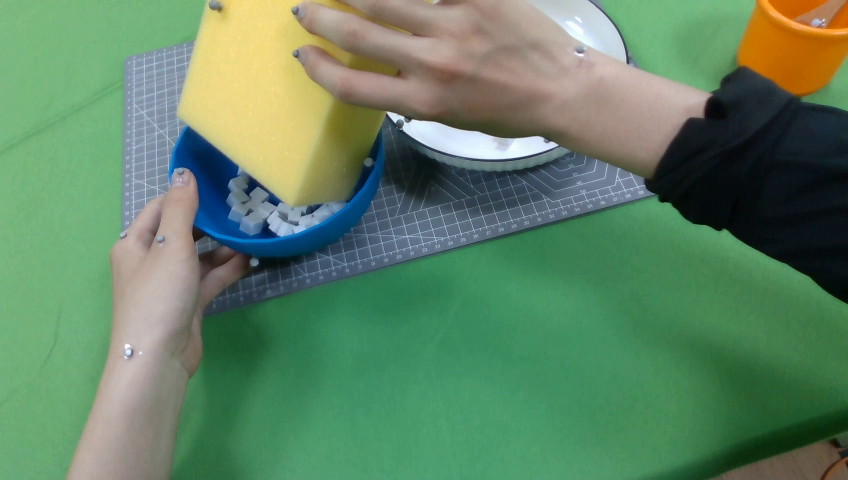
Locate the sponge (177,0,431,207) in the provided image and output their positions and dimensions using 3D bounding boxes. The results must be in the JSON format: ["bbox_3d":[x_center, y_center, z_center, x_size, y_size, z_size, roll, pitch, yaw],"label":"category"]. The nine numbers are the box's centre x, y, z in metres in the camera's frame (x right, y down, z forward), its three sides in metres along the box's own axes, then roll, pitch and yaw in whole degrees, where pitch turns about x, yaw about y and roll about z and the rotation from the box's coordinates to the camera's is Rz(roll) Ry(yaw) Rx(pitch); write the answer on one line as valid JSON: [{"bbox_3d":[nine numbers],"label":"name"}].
[{"bbox_3d":[-0.070,-0.140,0.380,0.117,0.207,0.061,35,26,20],"label":"sponge"}]

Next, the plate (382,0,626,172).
[{"bbox_3d":[0.060,-0.138,0.510,0.209,0.038,0.207,-3,61,5],"label":"plate"}]

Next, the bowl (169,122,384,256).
[{"bbox_3d":[-0.099,-0.044,0.453,0.151,0.077,0.150,-2,62,4],"label":"bowl"}]

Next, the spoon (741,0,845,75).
[{"bbox_3d":[0.330,-0.195,0.452,0.022,0.194,0.041,5,53,-44],"label":"spoon"}]
